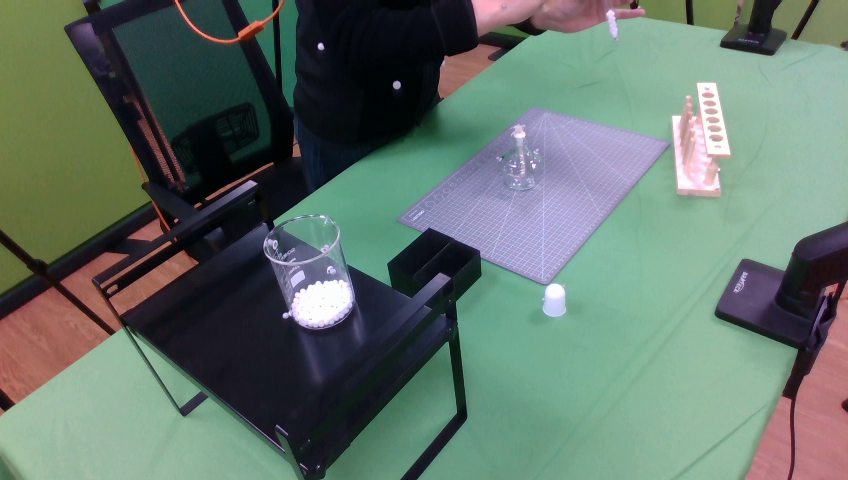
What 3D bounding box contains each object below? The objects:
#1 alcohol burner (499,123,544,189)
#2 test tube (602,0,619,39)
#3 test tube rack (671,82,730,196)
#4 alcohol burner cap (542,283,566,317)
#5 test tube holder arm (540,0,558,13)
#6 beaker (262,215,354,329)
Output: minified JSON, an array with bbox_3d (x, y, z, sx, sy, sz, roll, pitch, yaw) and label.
[{"bbox_3d":[0.169,-0.149,1.048,0.078,0.119,0.077,-6,41,5],"label":"alcohol burner"},{"bbox_3d":[0.284,-0.385,0.944,0.017,0.151,0.017,-17,38,14],"label":"test tube"},{"bbox_3d":[0.482,-0.184,1.067,0.066,0.085,0.242,6,42,14],"label":"test tube rack"},{"bbox_3d":[0.182,0.081,0.839,0.034,0.048,0.033,-4,41,4],"label":"alcohol burner cap"},{"bbox_3d":[0.221,-0.385,0.876,0.013,0.015,0.178,20,60,42],"label":"test tube holder arm"},{"bbox_3d":[-0.112,0.034,0.616,0.073,0.101,0.084,13,44,22],"label":"beaker"}]
